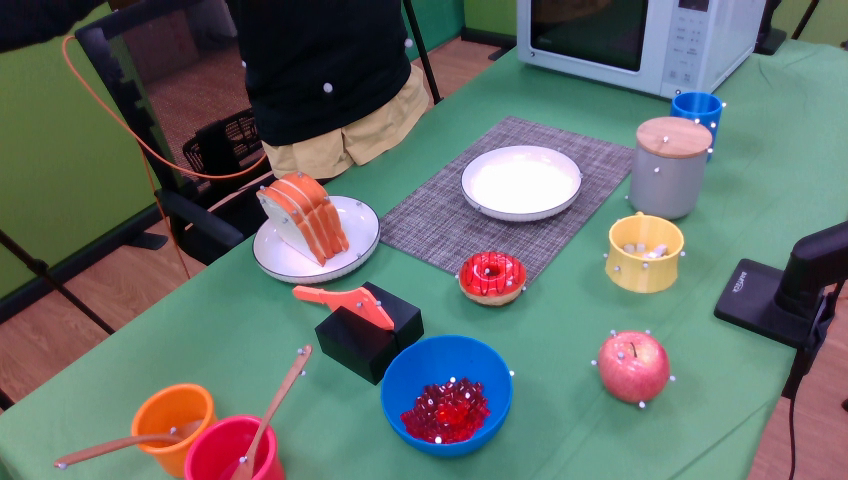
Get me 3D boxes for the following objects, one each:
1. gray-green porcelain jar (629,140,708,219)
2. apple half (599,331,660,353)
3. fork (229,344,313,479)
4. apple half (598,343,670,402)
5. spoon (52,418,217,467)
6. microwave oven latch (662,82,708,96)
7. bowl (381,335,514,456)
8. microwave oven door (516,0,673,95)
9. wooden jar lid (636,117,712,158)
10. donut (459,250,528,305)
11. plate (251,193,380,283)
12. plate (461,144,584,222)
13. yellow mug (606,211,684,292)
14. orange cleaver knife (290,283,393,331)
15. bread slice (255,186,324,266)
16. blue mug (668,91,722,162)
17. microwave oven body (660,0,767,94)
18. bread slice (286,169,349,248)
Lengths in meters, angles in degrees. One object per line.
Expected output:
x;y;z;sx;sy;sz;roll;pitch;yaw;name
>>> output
0.383;-0.105;0.958;0.106;0.127;0.105;-4;41;4;gray-green porcelain jar
0.249;0.134;0.738;0.081;0.081;0.032;-1;46;7;apple half
-0.173;0.205;0.662;0.028;0.019;0.207;29;94;36;fork
0.247;0.161;0.710;0.081;0.075;0.053;2;47;5;apple half
-0.308;0.220;0.663;0.041;0.195;0.021;22;93;29;spoon
0.517;-0.298;1.202;0.078;0.029;0.030;28;52;35;microwave oven latch
0.029;0.192;0.701;0.151;0.077;0.150;-4;40;4;bowl
0.344;-0.458;1.256;0.353;0.245;0.039;26;51;33;microwave oven door
0.377;-0.151;0.917;0.108;0.021;0.108;-2;42;2;wooden jar lid
0.100;0.053;0.872;0.099;0.048;0.098;-5;41;4;donut
-0.173;-0.001;0.985;0.209;0.038;0.208;-4;41;4;plate
0.168;-0.095;1.040;0.207;0.039;0.206;-4;40;4;plate
0.318;0.008;0.883;0.100;0.064;0.130;0;40;9;yellow mug
-0.118;0.091;0.835;0.209;0.077;0.012;1;35;48;orange cleaver knife
-0.211;-0.027;0.936;0.106;0.135;0.018;27;61;36;bread slice
0.475;-0.207;1.078;0.082;0.106;0.116;4;42;13;blue mug
0.473;-0.516;1.313;0.438;0.261;0.327;26;51;34;microwave oven body
-0.170;-0.053;0.960;0.104;0.132;0.019;31;61;36;bread slice
